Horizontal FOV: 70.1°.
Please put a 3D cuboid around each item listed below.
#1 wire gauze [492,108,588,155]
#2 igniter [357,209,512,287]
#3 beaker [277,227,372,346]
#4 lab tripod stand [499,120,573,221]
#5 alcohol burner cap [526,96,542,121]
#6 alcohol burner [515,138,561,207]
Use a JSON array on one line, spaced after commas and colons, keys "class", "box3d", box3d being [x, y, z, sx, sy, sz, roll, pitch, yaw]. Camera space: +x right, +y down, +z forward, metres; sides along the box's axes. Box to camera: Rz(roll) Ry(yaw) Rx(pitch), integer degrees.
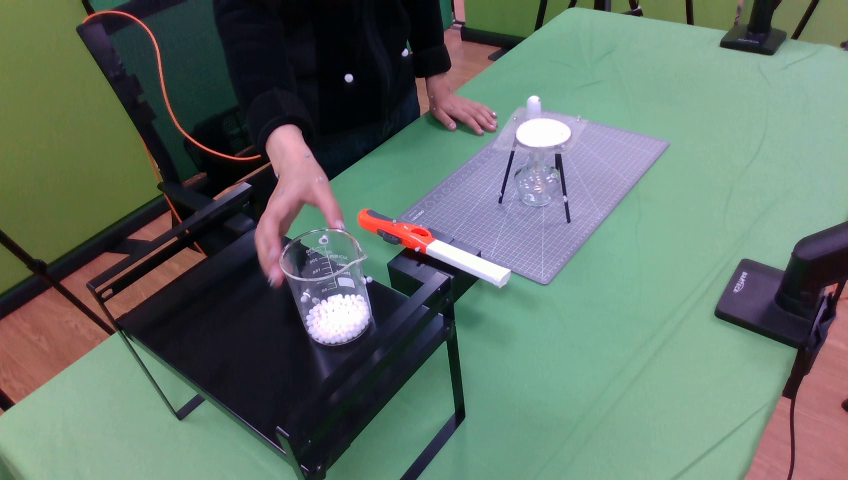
[{"class": "wire gauze", "box3d": [0.185, -0.170, 0.953, 0.121, 0.011, 0.125, 13, 44, 22]}, {"class": "igniter", "box3d": [0.004, 0.006, 0.891, 0.274, 0.025, 0.057, 23, 38, 30]}, {"class": "beaker", "box3d": [-0.090, 0.048, 0.593, 0.084, 0.101, 0.073, -3, 41, 6]}, {"class": "lab tripod stand", "box3d": [0.198, -0.116, 0.992, 0.148, 0.132, 0.147, -3, 41, 3]}, {"class": "alcohol burner cap", "box3d": [0.225, -0.272, 1.243, 0.034, 0.048, 0.033, -5, 41, 5]}, {"class": "alcohol burner", "box3d": [0.189, -0.116, 1.008, 0.078, 0.119, 0.077, -6, 39, 5]}]
